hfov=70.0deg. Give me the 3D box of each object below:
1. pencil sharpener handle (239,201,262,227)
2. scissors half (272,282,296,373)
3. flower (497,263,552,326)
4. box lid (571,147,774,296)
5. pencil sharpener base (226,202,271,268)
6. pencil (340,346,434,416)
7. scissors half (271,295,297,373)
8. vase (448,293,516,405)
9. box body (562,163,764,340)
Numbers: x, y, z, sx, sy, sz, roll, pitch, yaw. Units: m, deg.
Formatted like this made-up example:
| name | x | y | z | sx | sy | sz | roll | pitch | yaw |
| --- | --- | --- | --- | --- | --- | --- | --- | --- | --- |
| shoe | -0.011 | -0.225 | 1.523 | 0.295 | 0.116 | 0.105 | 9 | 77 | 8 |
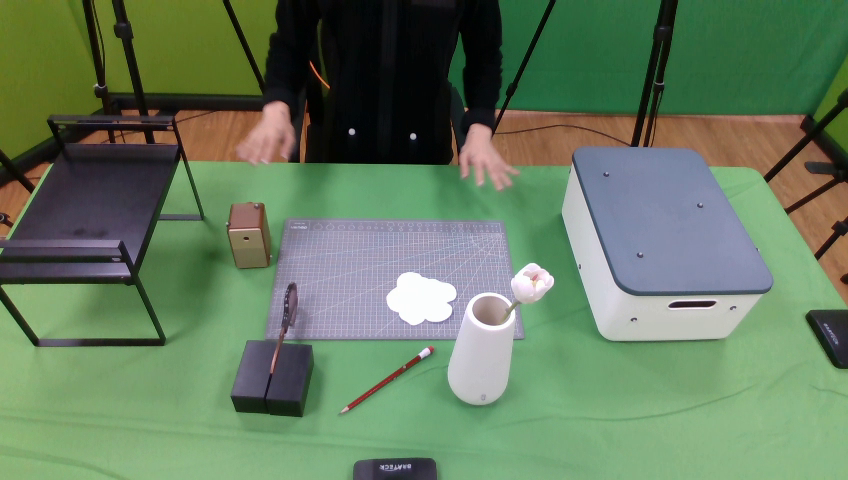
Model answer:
| name | x | y | z | sx | sy | sz | roll | pitch | yaw |
| --- | --- | --- | --- | --- | --- | --- | --- | --- | --- |
| pencil sharpener handle | -0.325 | -0.055 | 1.149 | 0.036 | 0.068 | 0.030 | -13 | 46 | 4 |
| scissors half | -0.229 | 0.139 | 0.986 | 0.013 | 0.040 | 0.174 | 4 | 51 | -2 |
| flower | 0.103 | 0.121 | 0.853 | 0.044 | 0.363 | 0.038 | -1 | 64 | -10 |
| box lid | 0.424 | -0.047 | 1.074 | 0.263 | 0.015 | 0.369 | -1 | 47 | -5 |
| pencil sharpener base | -0.323 | -0.010 | 1.123 | 0.061 | 0.107 | 0.076 | -3 | 46 | -7 |
| pencil | -0.058 | 0.228 | 0.984 | 0.194 | 0.012 | 0.012 | -32 | 56 | -28 |
| scissors half | -0.230 | 0.154 | 1.000 | 0.013 | 0.040 | 0.174 | 0 | 34 | 2 |
| vase | 0.091 | 0.169 | 0.921 | 0.098 | 0.201 | 0.097 | 3 | 47 | -3 |
| box body | 0.420 | 0.003 | 1.129 | 0.254 | 0.161 | 0.361 | -1 | 46 | -5 |
